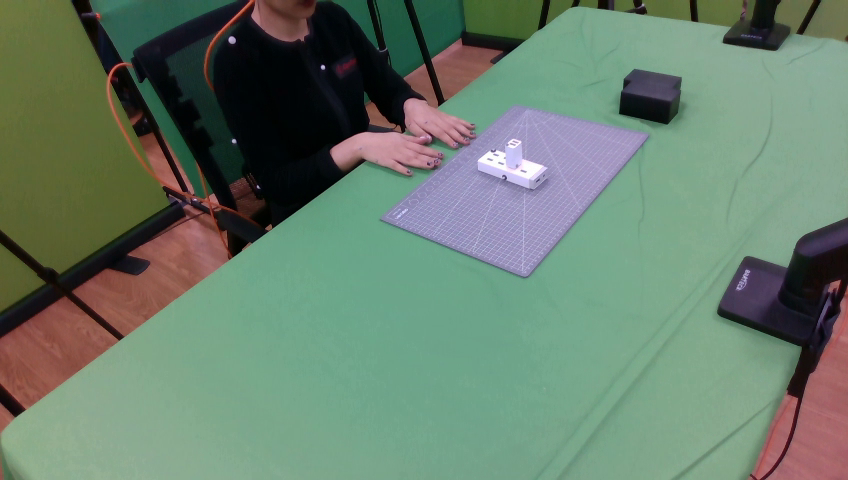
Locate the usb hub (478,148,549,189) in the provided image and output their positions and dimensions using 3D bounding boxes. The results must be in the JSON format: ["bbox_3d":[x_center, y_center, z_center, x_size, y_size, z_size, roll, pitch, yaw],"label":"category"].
[{"bbox_3d":[0.161,-0.131,1.099,0.124,0.025,0.049,26,51,34],"label":"usb hub"}]

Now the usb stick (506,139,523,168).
[{"bbox_3d":[0.160,-0.148,1.074,0.021,0.059,0.027,24,48,33],"label":"usb stick"}]
